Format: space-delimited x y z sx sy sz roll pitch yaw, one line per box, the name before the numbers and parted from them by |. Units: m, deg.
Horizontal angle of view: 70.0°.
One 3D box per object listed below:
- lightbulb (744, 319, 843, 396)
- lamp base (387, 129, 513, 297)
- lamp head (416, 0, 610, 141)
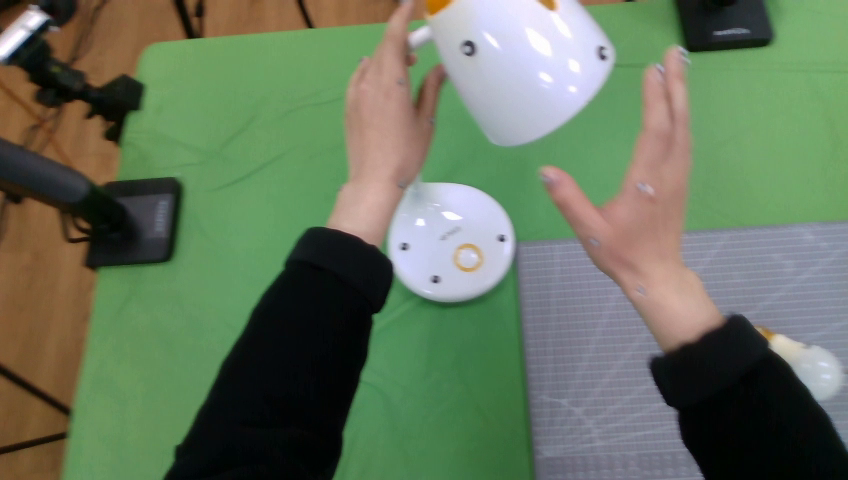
lightbulb | 0.407 0.126 0.673 0.059 0.060 0.106 -40 55 -11
lamp base | 0.017 -0.041 0.699 0.160 0.181 0.178 -43 69 -12
lamp head | 0.052 -0.149 0.434 0.124 0.112 0.112 39 72 -26
